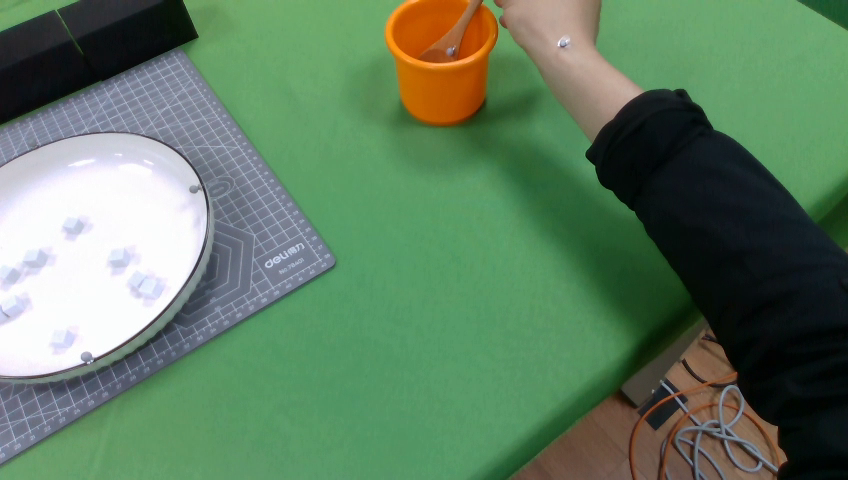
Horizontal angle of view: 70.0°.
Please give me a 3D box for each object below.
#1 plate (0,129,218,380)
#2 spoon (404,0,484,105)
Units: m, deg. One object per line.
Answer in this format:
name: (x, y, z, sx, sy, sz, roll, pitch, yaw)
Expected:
plate: (-0.255, 0.007, 0.450, 0.209, 0.038, 0.207, -1, 59, 1)
spoon: (0.044, -0.195, 0.496, 0.041, 0.194, 0.021, 39, 26, 6)
